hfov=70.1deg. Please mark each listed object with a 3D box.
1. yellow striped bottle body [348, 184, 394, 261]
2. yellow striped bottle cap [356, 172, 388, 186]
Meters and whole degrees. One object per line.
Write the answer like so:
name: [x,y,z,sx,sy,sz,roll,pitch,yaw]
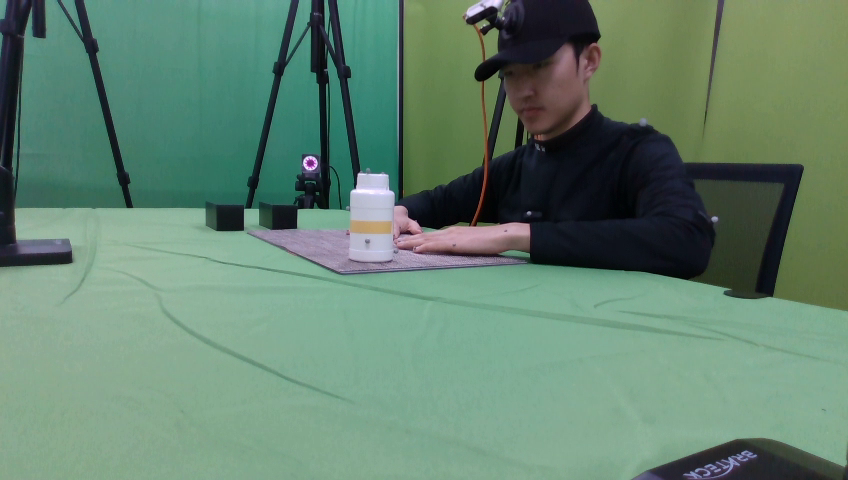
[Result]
yellow striped bottle body: [-0.073,-0.033,0.845,0.063,0.120,0.063,2,7,0]
yellow striped bottle cap: [-0.072,-0.084,0.839,0.044,0.018,0.044,2,9,0]
